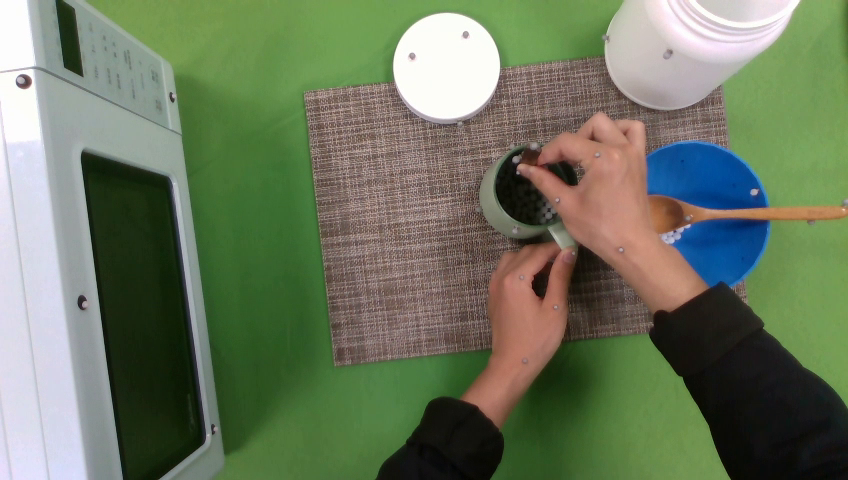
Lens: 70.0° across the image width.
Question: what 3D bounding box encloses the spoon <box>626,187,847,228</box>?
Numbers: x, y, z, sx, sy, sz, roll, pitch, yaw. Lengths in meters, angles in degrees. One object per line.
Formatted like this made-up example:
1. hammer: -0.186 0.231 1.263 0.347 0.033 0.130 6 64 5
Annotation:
1. spoon: 0.297 -0.032 0.586 0.193 0.022 0.041 1 93 25

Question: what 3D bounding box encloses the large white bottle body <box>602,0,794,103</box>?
1. large white bottle body: 0.250 -0.216 0.562 0.130 0.185 0.130 0 86 2

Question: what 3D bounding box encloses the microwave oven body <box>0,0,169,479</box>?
1. microwave oven body: -0.401 0.040 0.536 0.326 0.260 0.441 -8 90 0

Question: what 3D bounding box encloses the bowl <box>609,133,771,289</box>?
1. bowl: 0.255 -0.027 0.614 0.151 0.077 0.151 0 90 2

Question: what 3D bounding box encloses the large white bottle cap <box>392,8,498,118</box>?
1. large white bottle cap: 0.022 -0.189 0.648 0.115 0.018 0.114 0 88 1

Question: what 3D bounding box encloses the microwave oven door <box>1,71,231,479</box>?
1. microwave oven door: -0.250 0.061 0.528 0.039 0.244 0.355 -9 90 1

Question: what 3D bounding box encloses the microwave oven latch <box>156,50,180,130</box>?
1. microwave oven latch: -0.276 -0.154 0.630 0.030 0.029 0.079 -9 90 1

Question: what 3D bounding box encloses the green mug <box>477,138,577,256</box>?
1. green mug: 0.111 -0.040 0.604 0.092 0.105 0.125 -34 89 0

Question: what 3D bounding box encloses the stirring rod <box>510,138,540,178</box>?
1. stirring rod: 0.092 -0.074 0.560 0.014 0.176 0.006 19 90 5
